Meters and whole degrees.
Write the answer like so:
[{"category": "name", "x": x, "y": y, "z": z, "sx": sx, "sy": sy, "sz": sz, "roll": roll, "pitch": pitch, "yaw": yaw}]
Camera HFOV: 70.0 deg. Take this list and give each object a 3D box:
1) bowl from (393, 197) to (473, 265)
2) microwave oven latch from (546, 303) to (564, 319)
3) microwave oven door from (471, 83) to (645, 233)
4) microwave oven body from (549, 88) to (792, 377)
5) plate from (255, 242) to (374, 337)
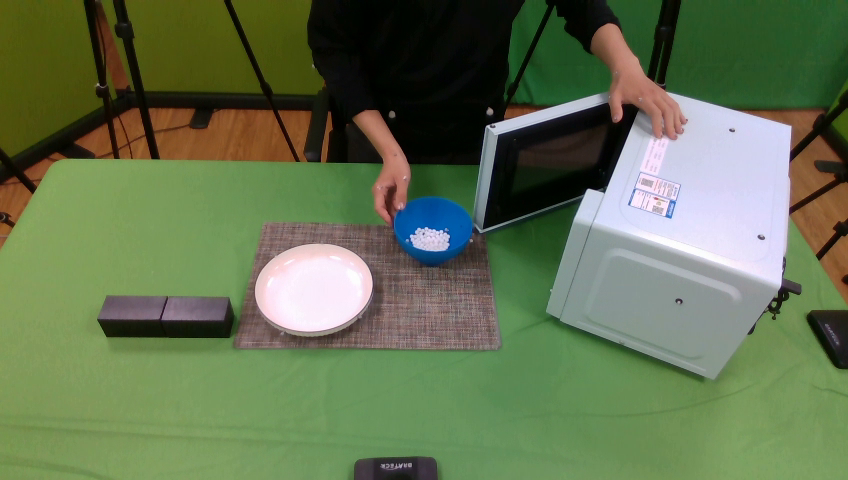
[{"category": "bowl", "x": 0.015, "y": -0.005, "z": 1.159, "sx": 0.151, "sy": 0.077, "sz": 0.150, "roll": 2, "pitch": 45, "yaw": -2}, {"category": "microwave oven latch", "x": 0.242, "y": 0.102, "z": 1.081, "sx": 0.030, "sy": 0.029, "sz": 0.079, "roll": 21, "pitch": 48, "yaw": 17}, {"category": "microwave oven door", "x": 0.264, "y": -0.163, "z": 1.197, "sx": 0.356, "sy": 0.245, "sz": 0.039, "roll": -19, "pitch": 50, "yaw": -21}, {"category": "microwave oven body", "x": 0.456, "y": -0.028, "z": 1.088, "sx": 0.325, "sy": 0.261, "sz": 0.440, "roll": 20, "pitch": 47, "yaw": 16}, {"category": "plate", "x": -0.192, "y": 0.090, "z": 1.079, "sx": 0.208, "sy": 0.039, "sz": 0.206, "roll": 2, "pitch": 46, "yaw": -2}]
